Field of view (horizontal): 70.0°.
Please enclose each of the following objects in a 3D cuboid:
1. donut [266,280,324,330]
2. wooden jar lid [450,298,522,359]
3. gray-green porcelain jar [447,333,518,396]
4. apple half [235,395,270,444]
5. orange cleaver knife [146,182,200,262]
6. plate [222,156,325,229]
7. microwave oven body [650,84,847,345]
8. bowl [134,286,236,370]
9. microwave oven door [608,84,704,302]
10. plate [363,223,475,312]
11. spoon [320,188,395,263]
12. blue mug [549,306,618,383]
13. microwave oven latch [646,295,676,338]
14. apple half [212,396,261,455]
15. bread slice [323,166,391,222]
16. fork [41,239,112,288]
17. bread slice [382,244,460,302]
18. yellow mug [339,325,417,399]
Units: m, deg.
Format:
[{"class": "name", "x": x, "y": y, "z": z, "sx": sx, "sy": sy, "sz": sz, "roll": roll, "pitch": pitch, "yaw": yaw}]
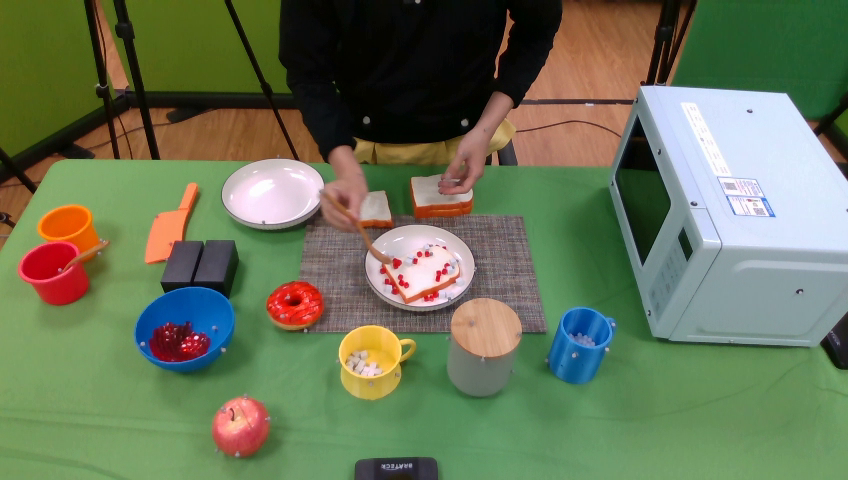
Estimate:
[{"class": "donut", "x": -0.223, "y": 0.113, "z": 1.051, "sx": 0.099, "sy": 0.048, "sz": 0.098, "roll": 2, "pitch": 45, "yaw": -2}, {"class": "wooden jar lid", "x": 0.093, "y": 0.135, "z": 0.914, "sx": 0.108, "sy": 0.021, "sz": 0.107, "roll": 2, "pitch": 48, "yaw": -3}, {"class": "gray-green porcelain jar", "x": 0.091, "y": 0.178, "z": 0.960, "sx": 0.106, "sy": 0.127, "sz": 0.105, "roll": 2, "pitch": 46, "yaw": -2}, {"class": "apple half", "x": -0.245, "y": 0.260, "z": 0.893, "sx": 0.033, "sy": 0.082, "sz": 0.081, "roll": -29, "pitch": 55, "yaw": -22}, {"class": "orange cleaver knife", "x": -0.494, "y": -0.039, "z": 1.198, "sx": 0.077, "sy": 0.012, "sz": 0.210, "roll": -3, "pitch": 48, "yaw": 2}, {"class": "plate", "x": -0.308, "y": -0.094, "z": 1.251, "sx": 0.209, "sy": 0.038, "sz": 0.208, "roll": 2, "pitch": 47, "yaw": -2}, {"class": "microwave oven body", "x": 0.569, "y": -0.054, "z": 1.116, "sx": 0.326, "sy": 0.261, "sz": 0.439, "roll": 2, "pitch": 46, "yaw": -1}, {"class": "bowl", "x": -0.377, "y": 0.156, "z": 0.981, "sx": 0.151, "sy": 0.077, "sz": 0.150, "roll": 2, "pitch": 46, "yaw": -2}, {"class": "microwave oven door", "x": 0.424, "y": -0.096, "z": 1.138, "sx": 0.039, "sy": 0.245, "sz": 0.353, "roll": 2, "pitch": 47, "yaw": -1}, {"class": "plate", "x": -0.009, "y": 0.054, "z": 1.126, "sx": 0.208, "sy": 0.039, "sz": 0.206, "roll": 2, "pitch": 47, "yaw": -2}, {"class": "spoon", "x": -0.111, "y": -0.023, "z": 1.025, "sx": 0.021, "sy": 0.195, "sz": 0.041, "roll": -37, "pitch": 31, "yaw": 2}, {"class": "blue mug", "x": 0.269, "y": 0.167, "z": 0.997, "sx": 0.116, "sy": 0.106, "sz": 0.082, "roll": -19, "pitch": 51, "yaw": -21}, {"class": "microwave oven latch", "x": 0.413, "y": 0.133, "z": 1.060, "sx": 0.030, "sy": 0.029, "sz": 0.078, "roll": 4, "pitch": 46, "yaw": 1}, {"class": "apple half", "x": -0.276, "y": 0.276, "z": 0.877, "sx": 0.053, "sy": 0.075, "sz": 0.080, "roll": -29, "pitch": 58, "yaw": -20}, {"class": "bread slice", "x": -0.140, "y": -0.092, "z": 1.224, "sx": 0.134, "sy": 0.018, "sz": 0.106, "roll": -19, "pitch": 50, "yaw": 5}, {"class": "fork", "x": -0.591, "y": 0.040, "z": 1.028, "sx": 0.207, "sy": 0.019, "sz": 0.028, "roll": -27, "pitch": 36, "yaw": 29}, {"class": "bread slice", "x": 0.000, "y": 0.053, "z": 1.128, "sx": 0.132, "sy": 0.019, "sz": 0.104, "roll": -20, "pitch": 52, "yaw": -22}, {"class": "yellow mug", "x": -0.072, "y": 0.191, "z": 0.978, "sx": 0.131, "sy": 0.064, "sz": 0.099, "roll": -17, "pitch": 50, "yaw": -20}]
